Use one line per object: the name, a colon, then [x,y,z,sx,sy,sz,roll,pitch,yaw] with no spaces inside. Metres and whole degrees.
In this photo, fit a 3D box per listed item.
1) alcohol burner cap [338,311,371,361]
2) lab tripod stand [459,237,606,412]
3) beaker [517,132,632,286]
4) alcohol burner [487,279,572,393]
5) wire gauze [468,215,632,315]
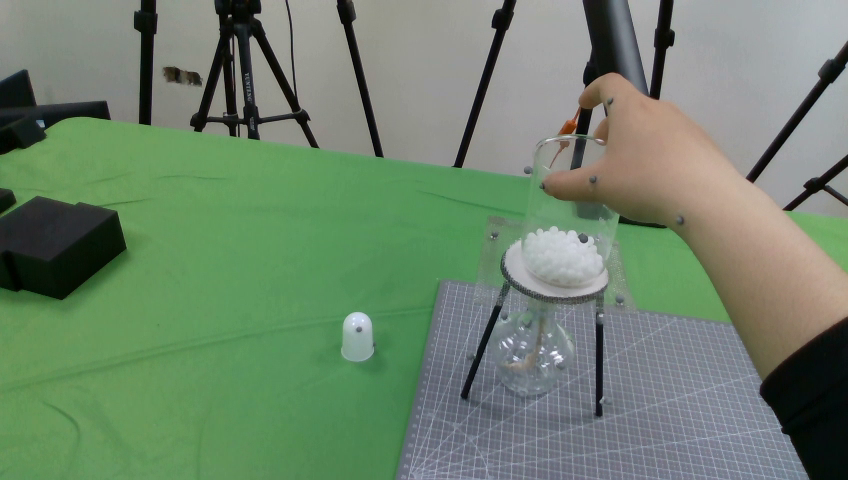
alcohol burner cap: [-0.066,0.089,0.581,0.034,0.048,0.033,4,36,-2]
lab tripod stand: [0.100,0.072,0.542,0.148,0.132,0.147,2,34,-1]
beaker: [0.112,-0.020,0.468,0.074,0.101,0.083,8,36,8]
alcohol burner: [0.098,0.081,0.547,0.078,0.120,0.077,5,36,-3]
wire gauze: [0.103,0.019,0.500,0.121,0.011,0.124,8,34,6]
